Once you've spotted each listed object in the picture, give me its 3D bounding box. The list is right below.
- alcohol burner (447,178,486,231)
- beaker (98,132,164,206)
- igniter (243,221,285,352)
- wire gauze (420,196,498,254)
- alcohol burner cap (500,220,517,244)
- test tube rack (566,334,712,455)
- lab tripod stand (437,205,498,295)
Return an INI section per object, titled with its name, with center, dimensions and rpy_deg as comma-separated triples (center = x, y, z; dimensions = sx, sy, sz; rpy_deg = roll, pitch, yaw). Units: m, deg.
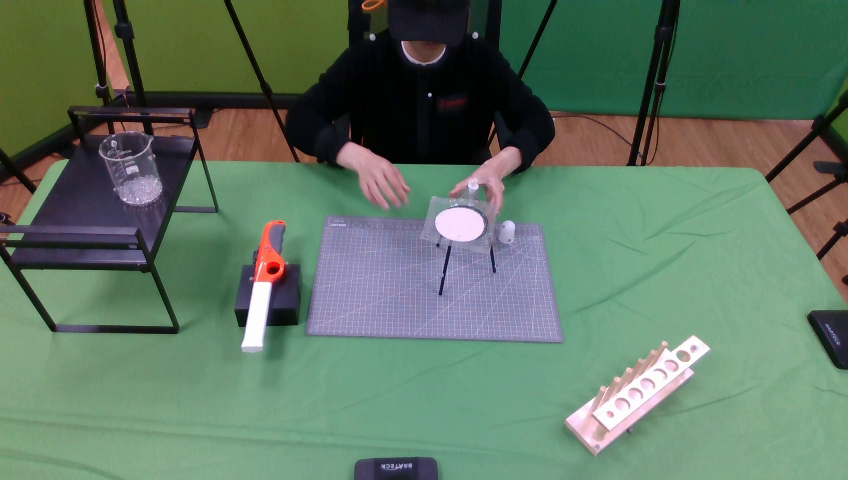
[alcohol burner]
center = 0.086, -0.074, 1.165
dimensions = 0.078, 0.119, 0.077
rpy_deg = 9, 46, -9
[beaker]
center = -0.460, -0.112, 0.968
dimensions = 0.073, 0.101, 0.084
rpy_deg = 37, 54, 28
[igniter]
center = -0.273, 0.069, 1.041
dimensions = 0.057, 0.025, 0.274
rpy_deg = 2, 48, -6
[wire gauze]
center = 0.062, -0.032, 1.054
dimensions = 0.125, 0.011, 0.121
rpy_deg = 9, 46, 8
[alcohol burner cap]
center = 0.170, -0.018, 1.205
dimensions = 0.034, 0.048, 0.033
rpy_deg = 1, 47, -1
[test tube rack]
center = 0.339, 0.228, 0.951
dimensions = 0.242, 0.085, 0.066
rpy_deg = -26, 52, -26
[lab tripod stand]
center = 0.066, 0.010, 1.107
dimensions = 0.148, 0.132, 0.147
rpy_deg = 0, 46, 0
